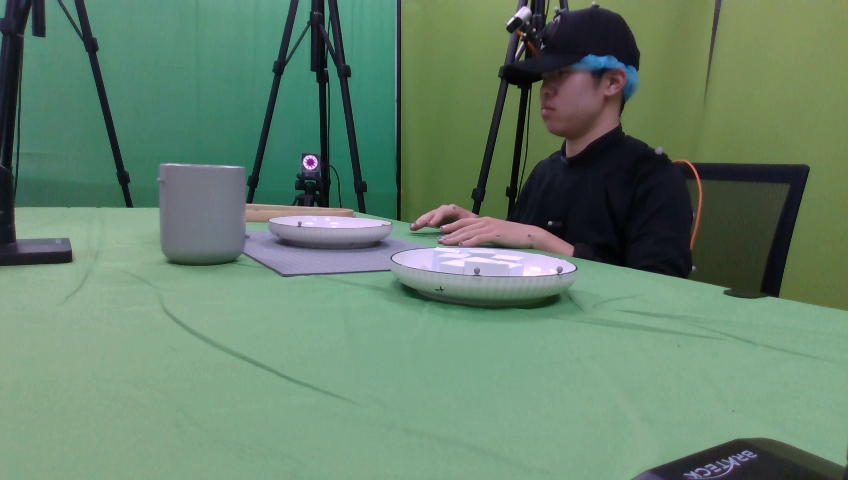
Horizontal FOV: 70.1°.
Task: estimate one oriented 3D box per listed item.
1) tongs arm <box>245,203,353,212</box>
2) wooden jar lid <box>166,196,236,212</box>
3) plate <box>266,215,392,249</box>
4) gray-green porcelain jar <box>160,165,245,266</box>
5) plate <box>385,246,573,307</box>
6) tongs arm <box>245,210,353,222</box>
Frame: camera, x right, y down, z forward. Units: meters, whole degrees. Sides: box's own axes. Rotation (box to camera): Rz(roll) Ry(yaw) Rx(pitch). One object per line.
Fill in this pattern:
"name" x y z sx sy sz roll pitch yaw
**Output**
"tongs arm" -0.362 -0.068 1.406 0.386 0.026 0.050 2 8 -14
"wooden jar lid" -0.369 -0.059 1.001 0.108 0.020 0.108 3 6 0
"plate" -0.159 -0.015 1.019 0.209 0.038 0.209 3 7 0
"gray-green porcelain jar" -0.291 -0.034 0.799 0.106 0.126 0.106 2 8 0
"plate" 0.060 0.041 0.678 0.208 0.039 0.207 3 7 0
"tongs arm" -0.337 -0.053 1.329 0.389 0.028 0.028 -1 6 -27
